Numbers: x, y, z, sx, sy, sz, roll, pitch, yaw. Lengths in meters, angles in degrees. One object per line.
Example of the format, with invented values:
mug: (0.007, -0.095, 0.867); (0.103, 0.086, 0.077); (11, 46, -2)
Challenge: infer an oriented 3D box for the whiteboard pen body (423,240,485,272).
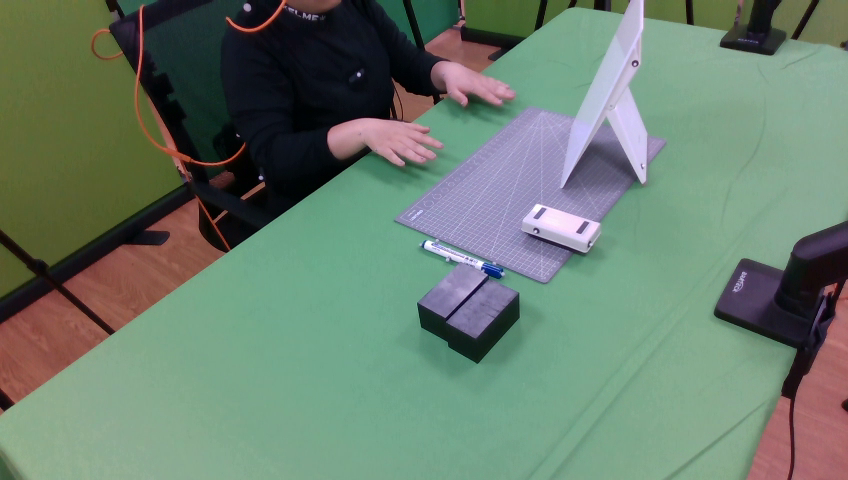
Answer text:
whiteboard pen body: (0.057, 0.027, 0.942); (0.139, 0.017, 0.017); (22, 48, 30)

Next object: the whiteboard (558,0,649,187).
whiteboard: (0.361, -0.238, 1.026); (0.144, 0.306, 0.217); (20, 44, 3)

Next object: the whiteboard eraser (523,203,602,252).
whiteboard eraser: (0.216, -0.018, 0.945); (0.112, 0.042, 0.056); (20, 46, 29)

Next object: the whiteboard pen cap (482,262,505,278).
whiteboard pen cap: (0.104, 0.044, 0.912); (0.033, 0.018, 0.018); (22, 48, 29)
